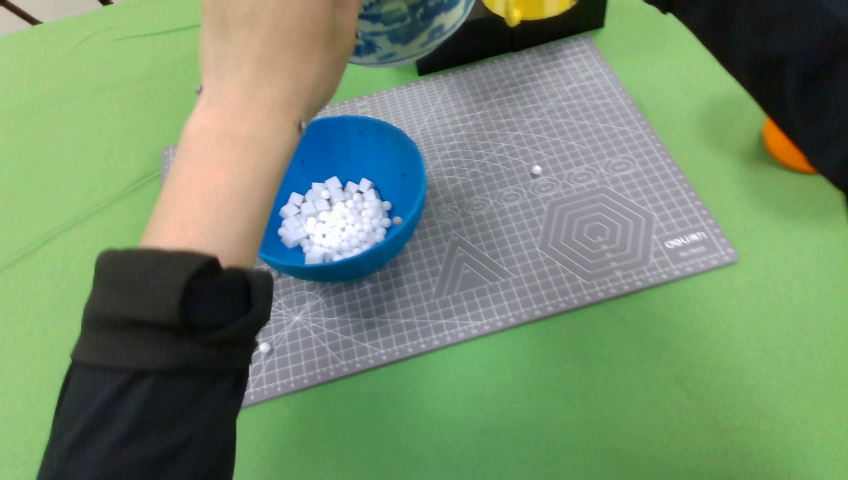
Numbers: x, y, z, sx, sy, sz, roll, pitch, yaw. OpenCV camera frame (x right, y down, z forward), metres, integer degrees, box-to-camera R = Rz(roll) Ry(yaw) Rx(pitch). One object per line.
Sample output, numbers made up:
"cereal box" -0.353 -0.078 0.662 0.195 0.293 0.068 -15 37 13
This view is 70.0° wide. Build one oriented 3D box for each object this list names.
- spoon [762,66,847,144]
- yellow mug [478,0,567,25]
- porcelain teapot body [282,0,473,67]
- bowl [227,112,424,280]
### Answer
"spoon" 0.351 -0.145 0.466 0.022 0.194 0.041 14 42 -37
"yellow mug" 0.092 -0.259 0.574 0.099 0.064 0.130 13 60 17
"porcelain teapot body" -0.073 -0.230 0.386 0.205 0.227 0.144 -1 63 7
"bowl" -0.069 -0.022 0.484 0.151 0.077 0.150 -4 55 6
